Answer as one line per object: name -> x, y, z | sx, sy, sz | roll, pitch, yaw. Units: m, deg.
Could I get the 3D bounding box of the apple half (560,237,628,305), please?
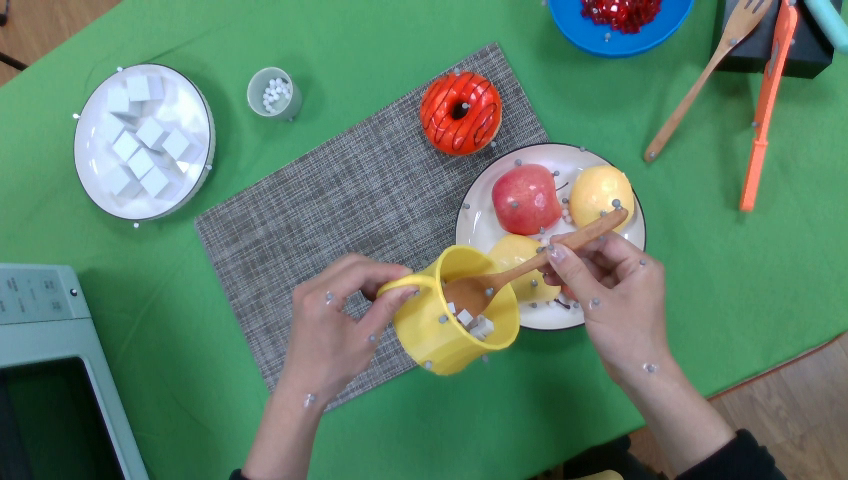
apple half -> 0.175, 0.033, 0.650 | 0.081, 0.033, 0.081 | 3, 96, 35

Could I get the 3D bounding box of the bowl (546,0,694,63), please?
bowl -> 0.209, -0.258, 0.657 | 0.151, 0.077, 0.151 | -1, 88, 13

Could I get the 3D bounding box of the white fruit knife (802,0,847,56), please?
white fruit knife -> 0.371, -0.269, 0.601 | 0.027, 0.016, 0.206 | -22, 79, -18

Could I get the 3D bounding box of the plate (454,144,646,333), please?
plate -> 0.138, -0.002, 0.678 | 0.208, 0.038, 0.208 | -1, 87, 13

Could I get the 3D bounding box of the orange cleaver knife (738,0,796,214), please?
orange cleaver knife -> 0.347, -0.133, 0.617 | 0.012, 0.077, 0.212 | 9, 115, 19

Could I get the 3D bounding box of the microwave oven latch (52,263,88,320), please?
microwave oven latch -> -0.476, 0.071, 0.804 | 0.030, 0.029, 0.079 | -23, 83, 10

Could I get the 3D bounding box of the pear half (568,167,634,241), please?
pear half -> 0.186, -0.034, 0.654 | 0.070, 0.031, 0.088 | 4, 99, 36

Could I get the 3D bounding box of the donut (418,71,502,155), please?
donut -> 0.041, -0.147, 0.704 | 0.099, 0.048, 0.099 | 0, 89, 16

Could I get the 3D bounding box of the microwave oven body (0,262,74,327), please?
microwave oven body -> -0.560, 0.287, 0.714 | 0.326, 0.261, 0.440 | -25, 82, 10

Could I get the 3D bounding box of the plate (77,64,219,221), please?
plate -> -0.361, -0.127, 0.806 | 0.207, 0.039, 0.207 | -1, 87, 14

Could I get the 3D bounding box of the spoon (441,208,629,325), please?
spoon -> 0.085, 0.025, 0.507 | 0.193, 0.021, 0.041 | -32, 90, 36

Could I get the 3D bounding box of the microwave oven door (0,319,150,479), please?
microwave oven door -> -0.415, 0.263, 0.675 | 0.039, 0.245, 0.354 | -26, 81, 11

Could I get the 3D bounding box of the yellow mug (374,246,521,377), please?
yellow mug -> 0.016, 0.059, 0.528 | 0.064, 0.132, 0.099 | -37, 46, 38

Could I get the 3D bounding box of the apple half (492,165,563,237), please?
apple half -> 0.112, -0.043, 0.668 | 0.074, 0.053, 0.080 | -11, 88, 13

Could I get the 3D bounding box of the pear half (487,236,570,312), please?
pear half -> 0.117, 0.044, 0.667 | 0.109, 0.056, 0.076 | 36, 100, 7

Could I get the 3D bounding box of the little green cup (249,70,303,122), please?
little green cup -> -0.185, -0.179, 0.766 | 0.061, 0.039, 0.061 | -1, 87, 14

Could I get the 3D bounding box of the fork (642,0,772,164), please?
fork -> 0.290, -0.168, 0.629 | 0.028, 0.018, 0.208 | 31, 115, 5
